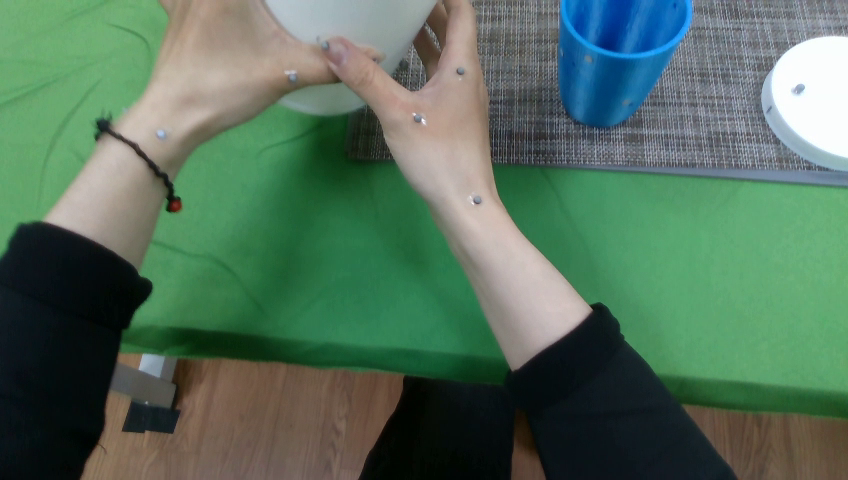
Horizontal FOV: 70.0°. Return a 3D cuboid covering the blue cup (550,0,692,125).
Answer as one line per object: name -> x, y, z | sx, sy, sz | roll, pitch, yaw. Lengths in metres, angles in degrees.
blue cup -> 0.135, -0.136, 0.440 | 0.092, 0.101, 0.092 | -2, 67, 5

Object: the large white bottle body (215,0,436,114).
large white bottle body -> -0.052, -0.179, 0.379 | 0.131, 0.185, 0.129 | 10, 67, -23

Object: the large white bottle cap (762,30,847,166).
large white bottle cap -> 0.321, -0.110, 0.462 | 0.115, 0.018, 0.114 | -1, 68, 3
